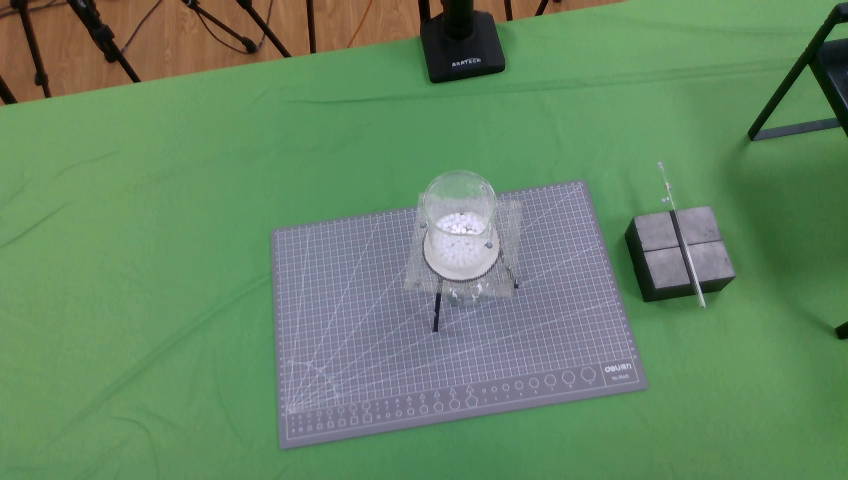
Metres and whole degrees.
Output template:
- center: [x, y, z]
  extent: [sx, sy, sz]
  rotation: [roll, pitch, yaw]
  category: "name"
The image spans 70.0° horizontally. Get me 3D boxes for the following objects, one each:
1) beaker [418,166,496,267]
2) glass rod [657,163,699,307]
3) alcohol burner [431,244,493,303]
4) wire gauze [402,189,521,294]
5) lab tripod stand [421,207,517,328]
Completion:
- center: [0.038, -0.018, 0.635]
  extent: [0.074, 0.101, 0.083]
  rotation: [-34, 68, -11]
  category: "beaker"
- center: [0.319, -0.011, 0.762]
  extent: [0.008, 0.008, 0.198]
  rotation: [-5, 66, 1]
  category: "glass rod"
- center: [0.047, 0.034, 0.747]
  extent: [0.078, 0.120, 0.077]
  rotation: [-2, 67, 5]
  category: "alcohol burner"
- center: [0.044, 0.000, 0.680]
  extent: [0.121, 0.011, 0.124]
  rotation: [7, 64, 6]
  category: "wire gauze"
- center: [0.042, 0.027, 0.741]
  extent: [0.148, 0.132, 0.147]
  rotation: [-2, 65, 5]
  category: "lab tripod stand"
